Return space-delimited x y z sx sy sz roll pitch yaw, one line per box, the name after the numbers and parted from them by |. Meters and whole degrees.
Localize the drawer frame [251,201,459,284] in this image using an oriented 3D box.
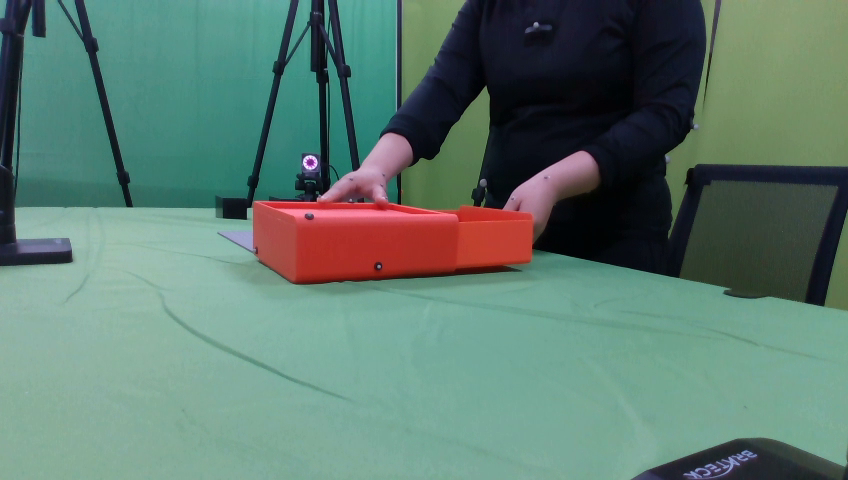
-0.094 -0.005 0.788 0.215 0.082 0.200 -2 10 -30 | drawer frame

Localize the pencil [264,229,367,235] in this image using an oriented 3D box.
-0.195 -0.013 1.109 0.195 0.012 0.012 0 7 -28 | pencil

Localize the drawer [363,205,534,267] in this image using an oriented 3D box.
0.012 -0.009 0.850 0.213 0.073 0.193 -2 8 -28 | drawer
